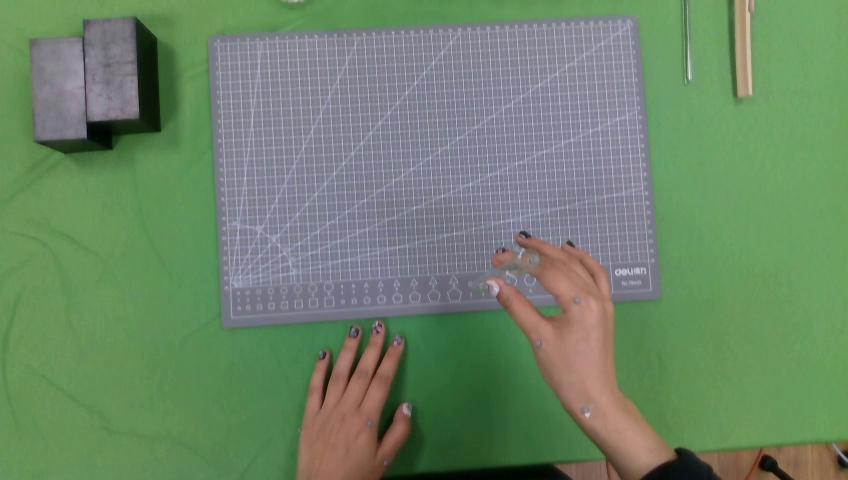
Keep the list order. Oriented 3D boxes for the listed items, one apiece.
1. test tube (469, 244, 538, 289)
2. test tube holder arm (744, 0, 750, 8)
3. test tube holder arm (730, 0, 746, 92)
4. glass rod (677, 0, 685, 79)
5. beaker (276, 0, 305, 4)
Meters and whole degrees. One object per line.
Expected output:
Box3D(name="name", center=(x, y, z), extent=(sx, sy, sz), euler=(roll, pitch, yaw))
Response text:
Box3D(name="test tube", center=(0.061, 0.025, 0.500), extent=(0.017, 0.150, 0.017), euler=(2, 78, -10))
Box3D(name="test tube holder arm", center=(0.340, -0.290, 0.646), extent=(0.010, 0.015, 0.087), euler=(5, 86, -31))
Box3D(name="test tube holder arm", center=(0.333, -0.245, 0.641), extent=(0.013, 0.015, 0.178), euler=(4, 86, -31))
Box3D(name="glass rod", center=(0.274, -0.271, 0.648), extent=(0.008, 0.008, 0.199), euler=(1, 87, -2))
Box3D(name="beaker", center=(-0.139, -0.281, 0.589), extent=(0.074, 0.100, 0.084), euler=(-1, 87, -2))
